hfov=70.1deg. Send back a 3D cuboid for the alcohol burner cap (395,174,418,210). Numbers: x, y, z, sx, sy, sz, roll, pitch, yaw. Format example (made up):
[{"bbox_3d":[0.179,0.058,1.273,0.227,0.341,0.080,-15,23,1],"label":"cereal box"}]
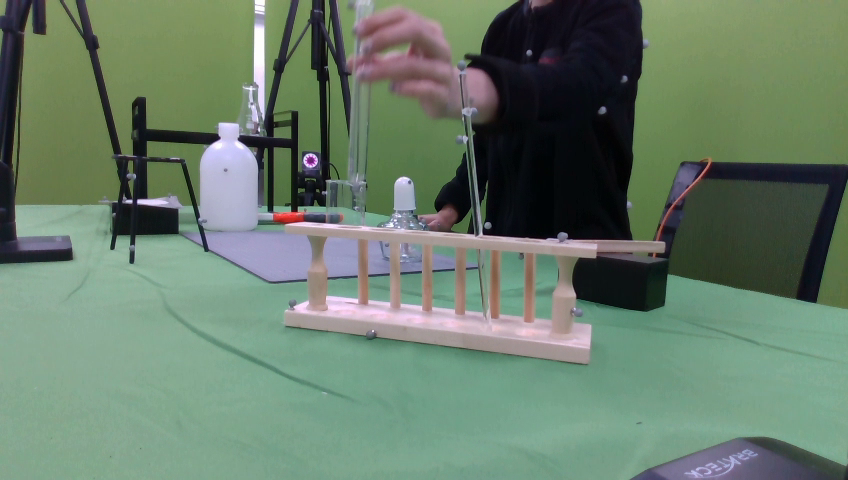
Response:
[{"bbox_3d":[-0.026,-0.067,0.834,0.034,0.048,0.034,-2,12,1],"label":"alcohol burner cap"}]

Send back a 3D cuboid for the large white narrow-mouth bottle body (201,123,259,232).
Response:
[{"bbox_3d":[-0.358,-0.116,1.116,0.102,0.194,0.102,2,8,0],"label":"large white narrow-mouth bottle body"}]

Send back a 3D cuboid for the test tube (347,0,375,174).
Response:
[{"bbox_3d":[-0.050,-0.127,0.484,0.017,0.150,0.017,3,-4,1],"label":"test tube"}]

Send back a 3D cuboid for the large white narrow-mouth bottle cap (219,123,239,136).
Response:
[{"bbox_3d":[-0.356,-0.201,1.104,0.038,0.024,0.037,2,8,0],"label":"large white narrow-mouth bottle cap"}]

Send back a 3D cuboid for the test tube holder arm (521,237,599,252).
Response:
[{"bbox_3d":[0.144,0.005,0.636,0.088,0.015,0.010,-1,17,-19],"label":"test tube holder arm"}]

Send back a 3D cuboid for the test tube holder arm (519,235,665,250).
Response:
[{"bbox_3d":[0.185,0.003,0.656,0.179,0.015,0.013,-1,17,-20],"label":"test tube holder arm"}]

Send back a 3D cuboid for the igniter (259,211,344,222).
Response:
[{"bbox_3d":[-0.302,-0.047,1.249,0.278,0.025,0.057,-2,-2,-27],"label":"igniter"}]

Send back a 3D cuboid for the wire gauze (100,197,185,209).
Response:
[{"bbox_3d":[-0.469,-0.062,1.008,0.126,0.011,0.121,-2,8,-25],"label":"wire gauze"}]

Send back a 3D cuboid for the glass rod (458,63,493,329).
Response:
[{"bbox_3d":[0.039,-0.029,0.448,0.008,0.199,0.008,-7,8,1],"label":"glass rod"}]

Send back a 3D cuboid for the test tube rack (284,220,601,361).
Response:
[{"bbox_3d":[0.013,0.032,0.482,0.242,0.085,0.067,4,7,16],"label":"test tube rack"}]

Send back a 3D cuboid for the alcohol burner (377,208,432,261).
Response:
[{"bbox_3d":[-0.027,-0.031,0.838,0.078,0.119,0.078,0,6,0],"label":"alcohol burner"}]

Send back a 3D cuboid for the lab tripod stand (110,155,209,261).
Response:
[{"bbox_3d":[-0.361,-0.046,0.806,0.148,0.131,0.148,2,5,0],"label":"lab tripod stand"}]

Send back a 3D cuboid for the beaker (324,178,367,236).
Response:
[{"bbox_3d":[-0.139,-0.060,1.083,0.074,0.100,0.083,-3,10,-31],"label":"beaker"}]

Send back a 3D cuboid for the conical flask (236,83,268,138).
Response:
[{"bbox_3d":[-0.400,-0.298,1.396,0.075,0.122,0.075,2,8,0],"label":"conical flask"}]
